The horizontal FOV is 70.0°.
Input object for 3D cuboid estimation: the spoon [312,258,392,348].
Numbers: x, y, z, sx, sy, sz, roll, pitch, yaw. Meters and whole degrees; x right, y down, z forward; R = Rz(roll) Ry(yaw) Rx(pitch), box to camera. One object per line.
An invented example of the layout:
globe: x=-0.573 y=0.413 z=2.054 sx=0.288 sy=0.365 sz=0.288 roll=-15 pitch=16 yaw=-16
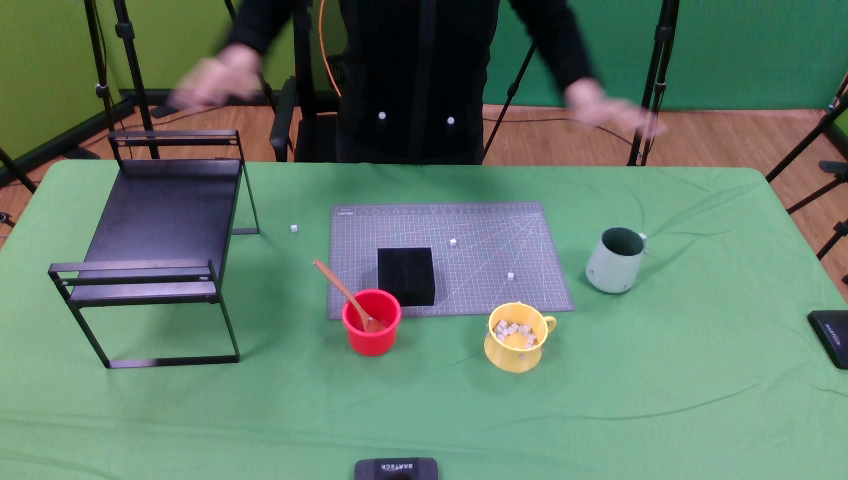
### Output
spoon: x=-0.119 y=0.103 z=1.005 sx=0.194 sy=0.021 sz=0.041 roll=54 pitch=50 yaw=-14

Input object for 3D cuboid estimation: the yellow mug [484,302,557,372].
yellow mug: x=0.169 y=0.159 z=1.026 sx=0.131 sy=0.064 sz=0.099 roll=-16 pitch=49 yaw=-19

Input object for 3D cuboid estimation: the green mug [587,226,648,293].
green mug: x=0.371 y=0.030 z=1.136 sx=0.125 sy=0.105 sz=0.092 roll=-27 pitch=53 yaw=-27
